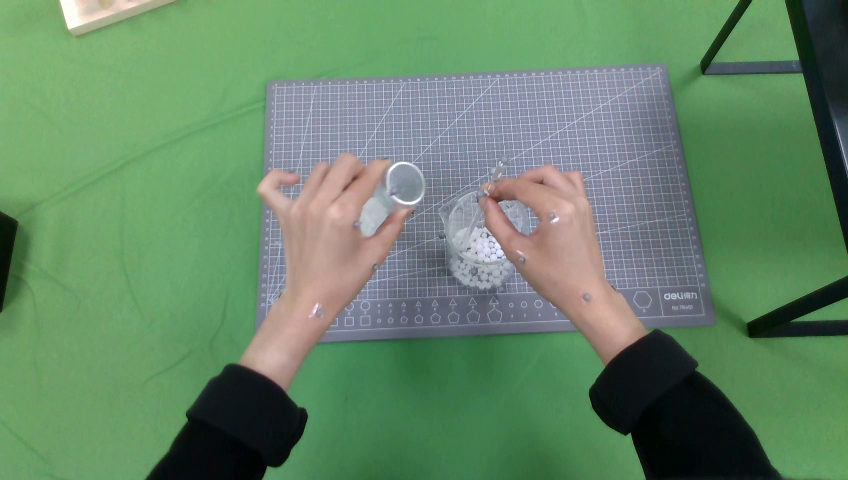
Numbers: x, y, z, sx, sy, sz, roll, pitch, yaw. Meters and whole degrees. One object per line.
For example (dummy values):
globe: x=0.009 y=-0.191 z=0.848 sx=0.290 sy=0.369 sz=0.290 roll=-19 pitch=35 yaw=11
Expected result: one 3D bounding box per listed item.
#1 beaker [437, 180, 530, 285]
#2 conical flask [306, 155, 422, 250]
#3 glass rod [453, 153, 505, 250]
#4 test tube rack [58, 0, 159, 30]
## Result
beaker: x=0.052 y=-0.003 z=0.571 sx=0.084 sy=0.101 sz=0.073 roll=20 pitch=72 yaw=9
conical flask: x=-0.047 y=-0.037 z=0.518 sx=0.076 sy=0.121 sz=0.075 roll=7 pitch=76 yaw=-30
glass rod: x=0.043 y=-0.027 z=0.522 sx=0.008 sy=0.200 sz=0.008 roll=2 pitch=70 yaw=-6
test tube rack: x=-0.317 y=-0.333 z=0.694 sx=0.242 sy=0.085 sz=0.066 roll=-23 pitch=73 yaw=-7
